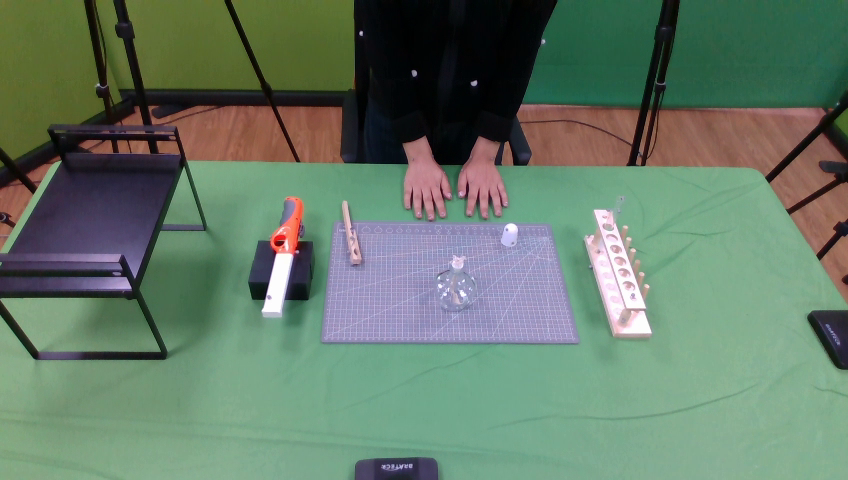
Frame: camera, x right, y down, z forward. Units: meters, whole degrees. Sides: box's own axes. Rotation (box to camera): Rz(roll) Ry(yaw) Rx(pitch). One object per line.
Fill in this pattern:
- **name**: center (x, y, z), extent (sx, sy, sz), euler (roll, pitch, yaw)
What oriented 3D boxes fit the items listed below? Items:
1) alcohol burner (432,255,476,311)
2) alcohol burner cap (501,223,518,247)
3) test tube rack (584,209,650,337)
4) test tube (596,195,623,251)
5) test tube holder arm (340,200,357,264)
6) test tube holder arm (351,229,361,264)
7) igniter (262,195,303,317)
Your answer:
- **alcohol burner**: center (0.055, 0.070, 1.068), extent (0.078, 0.119, 0.077), euler (3, 45, -3)
- **alcohol burner cap**: center (0.172, -0.013, 1.206), extent (0.034, 0.048, 0.033), euler (1, 46, 0)
- **test tube rack**: center (0.365, 0.056, 1.129), extent (0.067, 0.085, 0.240), euler (1, 46, -4)
- **test tube**: center (0.347, -0.029, 1.140), extent (0.017, 0.151, 0.017), euler (1, 52, -1)
- **test tube holder arm**: center (-0.151, -0.019, 1.204), extent (0.013, 0.015, 0.177), euler (10, 39, -27)
- **test tube holder arm**: center (-0.136, 0.012, 1.175), extent (0.010, 0.015, 0.087), euler (11, 38, -27)
- **igniter**: center (-0.253, 0.020, 1.090), extent (0.057, 0.025, 0.275), euler (0, 49, -1)
